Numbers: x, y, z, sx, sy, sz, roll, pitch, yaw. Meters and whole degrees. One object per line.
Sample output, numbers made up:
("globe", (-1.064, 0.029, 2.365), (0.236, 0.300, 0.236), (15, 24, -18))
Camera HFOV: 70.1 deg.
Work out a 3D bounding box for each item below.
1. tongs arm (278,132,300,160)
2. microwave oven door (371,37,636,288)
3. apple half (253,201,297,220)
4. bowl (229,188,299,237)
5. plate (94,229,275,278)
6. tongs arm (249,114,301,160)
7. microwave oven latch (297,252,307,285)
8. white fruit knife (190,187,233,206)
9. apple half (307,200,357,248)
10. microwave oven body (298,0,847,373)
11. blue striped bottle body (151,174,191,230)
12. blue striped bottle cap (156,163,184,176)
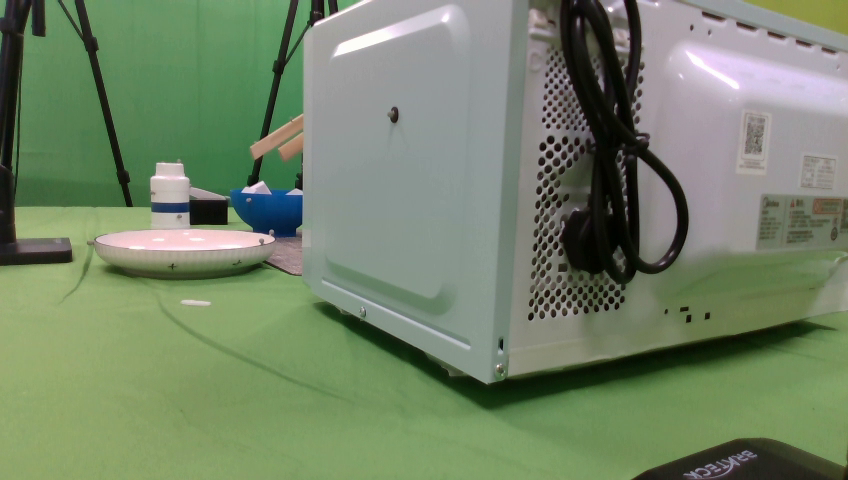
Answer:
("tongs arm", (-0.159, -0.251, 1.165), (0.028, 0.028, 0.388), (-2, 32, 33))
("microwave oven door", (0.109, -0.080, 0.686), (0.358, 0.243, 0.039), (-2, 9, -33))
("apple half", (-0.264, -0.053, 1.066), (0.081, 0.033, 0.081), (1, 9, 0))
("bowl", (-0.264, -0.048, 1.066), (0.151, 0.077, 0.151), (2, 8, 0))
("plate", (-0.291, 0.016, 0.750), (0.208, 0.039, 0.207), (2, 7, 0))
("tongs arm", (-0.195, -0.255, 1.188), (0.050, 0.026, 0.385), (3, 34, 32))
("microwave oven latch", (-0.082, 0.027, 0.582), (0.079, 0.029, 0.030), (-1, 8, -32))
("white fruit knife", (-0.413, -0.081, 1.270), (0.208, 0.027, 0.016), (17, 14, -41))
("apple half", (-0.136, -0.024, 0.942), (0.053, 0.074, 0.081), (15, 10, 38))
("microwave oven body", (0.151, -0.055, 0.543), (0.444, 0.260, 0.324), (-1, 8, -33))
("blue striped bottle body", (-0.439, -0.071, 1.052), (0.063, 0.120, 0.063), (2, 7, 0))
("blue striped bottle cap", (-0.438, -0.122, 1.045), (0.044, 0.020, 0.044), (4, 6, 0))
